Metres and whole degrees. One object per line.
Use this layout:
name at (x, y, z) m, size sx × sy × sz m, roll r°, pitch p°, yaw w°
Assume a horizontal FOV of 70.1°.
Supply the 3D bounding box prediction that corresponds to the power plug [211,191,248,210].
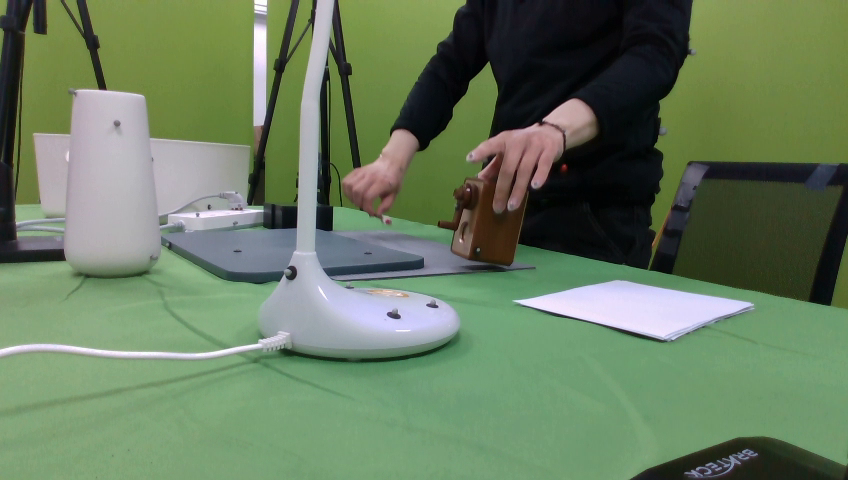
power plug at (-0.384, -0.071, 1.205) m, size 0.072 × 0.052 × 0.035 m, roll 1°, pitch 8°, yaw 28°

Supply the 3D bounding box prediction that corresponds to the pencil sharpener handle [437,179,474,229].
pencil sharpener handle at (0.039, -0.047, 0.781) m, size 0.031 × 0.067 × 0.036 m, roll 8°, pitch 13°, yaw -24°

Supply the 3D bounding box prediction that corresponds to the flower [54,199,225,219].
flower at (-0.575, -0.060, 1.268) m, size 0.044 × 0.038 × 0.364 m, roll 27°, pitch 16°, yaw 33°

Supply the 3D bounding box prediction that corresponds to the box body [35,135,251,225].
box body at (-0.559, -0.127, 1.257) m, size 0.253 × 0.160 × 0.365 m, roll 4°, pitch 8°, yaw 15°

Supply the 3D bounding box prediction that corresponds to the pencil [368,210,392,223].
pencil at (-0.081, -0.043, 1.063) m, size 0.012 × 0.012 × 0.193 m, roll 0°, pitch 7°, yaw -15°

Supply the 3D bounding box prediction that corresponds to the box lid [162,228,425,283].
box lid at (-0.200, 0.014, 0.861) m, size 0.265 × 0.015 × 0.369 m, roll -3°, pitch 9°, yaw -35°

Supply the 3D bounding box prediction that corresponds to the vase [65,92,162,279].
vase at (-0.347, -0.060, 0.673) m, size 0.098 × 0.200 × 0.098 m, roll 1°, pitch 7°, yaw 0°

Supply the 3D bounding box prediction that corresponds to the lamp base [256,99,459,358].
lamp base at (-0.055, -0.013, 0.463) m, size 0.160 × 0.180 × 0.180 m, roll 6°, pitch 11°, yaw 27°

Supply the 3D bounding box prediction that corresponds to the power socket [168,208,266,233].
power socket at (-0.379, -0.038, 1.129) m, size 0.072 × 0.032 × 0.227 m, roll 4°, pitch 8°, yaw 18°

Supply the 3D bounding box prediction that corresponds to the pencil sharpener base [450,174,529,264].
pencil sharpener base at (0.083, -0.028, 0.802) m, size 0.077 × 0.107 × 0.061 m, roll 8°, pitch 7°, yaw -24°
